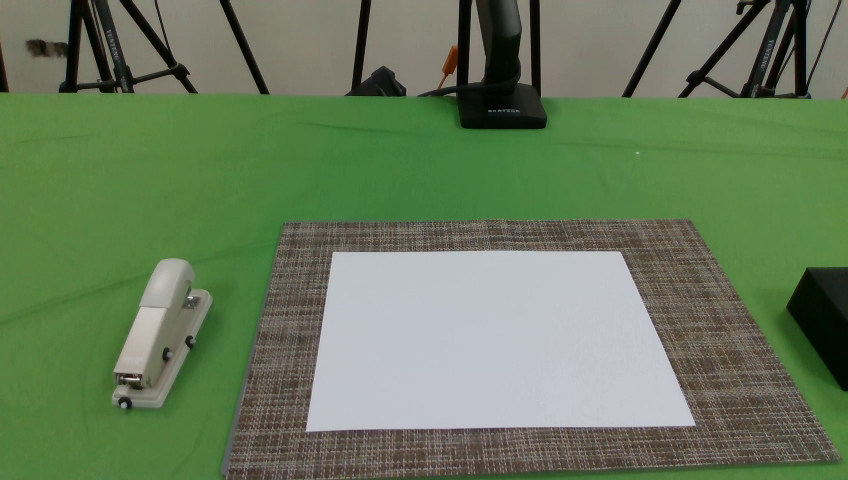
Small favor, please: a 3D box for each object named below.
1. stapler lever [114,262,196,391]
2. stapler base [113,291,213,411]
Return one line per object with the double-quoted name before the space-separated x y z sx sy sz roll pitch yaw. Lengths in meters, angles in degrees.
"stapler lever" -0.219 0.066 0.497 0.027 0.040 0.117 2 40 4
"stapler base" -0.220 0.085 0.514 0.041 0.024 0.129 2 40 3
